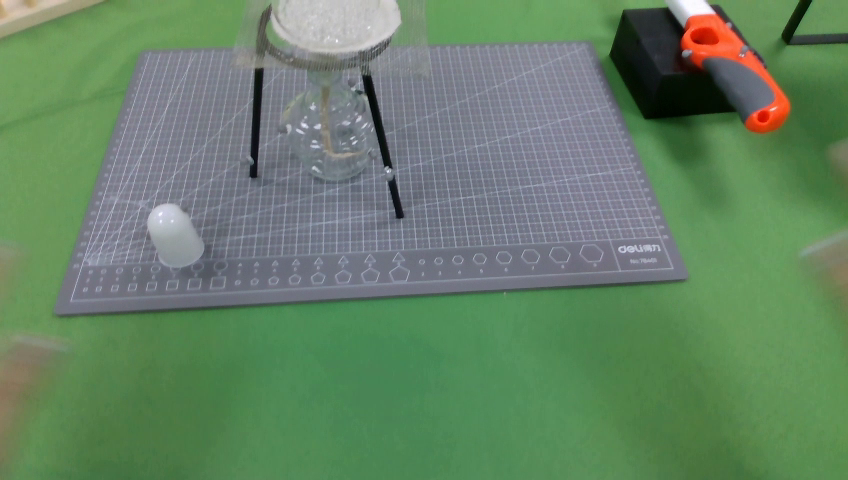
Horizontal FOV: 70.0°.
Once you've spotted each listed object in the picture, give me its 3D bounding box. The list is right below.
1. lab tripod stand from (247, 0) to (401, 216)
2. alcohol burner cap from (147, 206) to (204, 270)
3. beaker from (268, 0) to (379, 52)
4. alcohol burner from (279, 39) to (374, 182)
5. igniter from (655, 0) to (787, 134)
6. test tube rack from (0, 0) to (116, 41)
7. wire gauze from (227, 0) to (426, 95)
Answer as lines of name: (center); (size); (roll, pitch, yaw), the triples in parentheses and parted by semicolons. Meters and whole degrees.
lab tripod stand: (-0.066, -0.100, 0.453); (0.148, 0.132, 0.147); (3, 52, -3)
alcohol burner cap: (-0.179, -0.004, 0.431); (0.034, 0.048, 0.033); (2, 51, -3)
beaker: (-0.063, -0.172, 0.364); (0.074, 0.101, 0.083); (-10, 55, -10)
alcohol burner: (-0.075, -0.102, 0.467); (0.078, 0.120, 0.077); (1, 53, 0)
igniter: (0.249, -0.189, 0.549); (0.057, 0.025, 0.273); (-7, 50, -4)
test tube rack: (-0.379, -0.285, 0.616); (0.242, 0.086, 0.066); (-34, 61, -26)
wire gauze: (-0.060, -0.147, 0.407); (0.125, 0.011, 0.120); (3, 56, -4)
